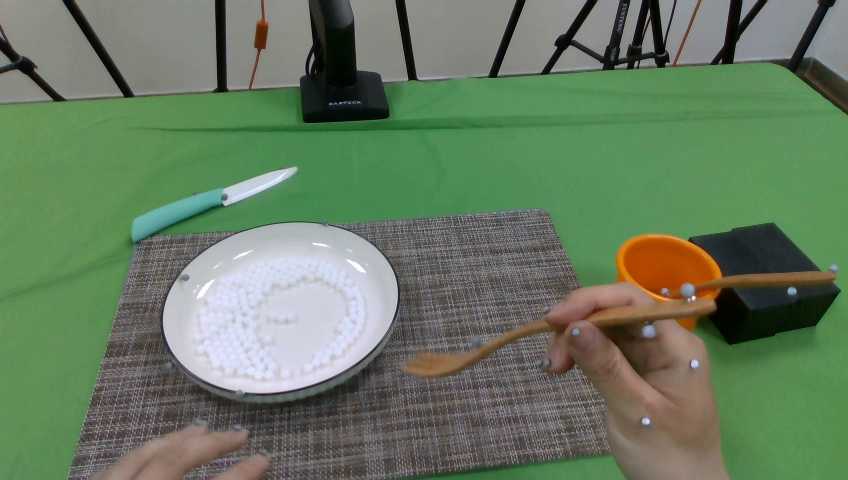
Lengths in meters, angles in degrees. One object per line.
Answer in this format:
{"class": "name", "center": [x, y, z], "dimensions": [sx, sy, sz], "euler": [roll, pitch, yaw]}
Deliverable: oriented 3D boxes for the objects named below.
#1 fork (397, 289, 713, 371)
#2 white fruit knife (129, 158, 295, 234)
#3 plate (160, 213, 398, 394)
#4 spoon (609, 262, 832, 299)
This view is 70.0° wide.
{"class": "fork", "center": [0.058, 0.052, 0.341], "dimensions": [0.028, 0.207, 0.018], "euler": [-28, 92, -47]}
{"class": "white fruit knife", "center": [-0.236, -0.058, 0.692], "dimensions": [0.207, 0.016, 0.027], "euler": [-28, 74, -33]}
{"class": "plate", "center": [-0.127, 0.055, 0.555], "dimensions": [0.209, 0.038, 0.207], "euler": [2, 43, -1]}
{"class": "spoon", "center": [0.244, 0.035, 0.523], "dimensions": [0.041, 0.193, 0.022], "euler": [-32, 97, -35]}
